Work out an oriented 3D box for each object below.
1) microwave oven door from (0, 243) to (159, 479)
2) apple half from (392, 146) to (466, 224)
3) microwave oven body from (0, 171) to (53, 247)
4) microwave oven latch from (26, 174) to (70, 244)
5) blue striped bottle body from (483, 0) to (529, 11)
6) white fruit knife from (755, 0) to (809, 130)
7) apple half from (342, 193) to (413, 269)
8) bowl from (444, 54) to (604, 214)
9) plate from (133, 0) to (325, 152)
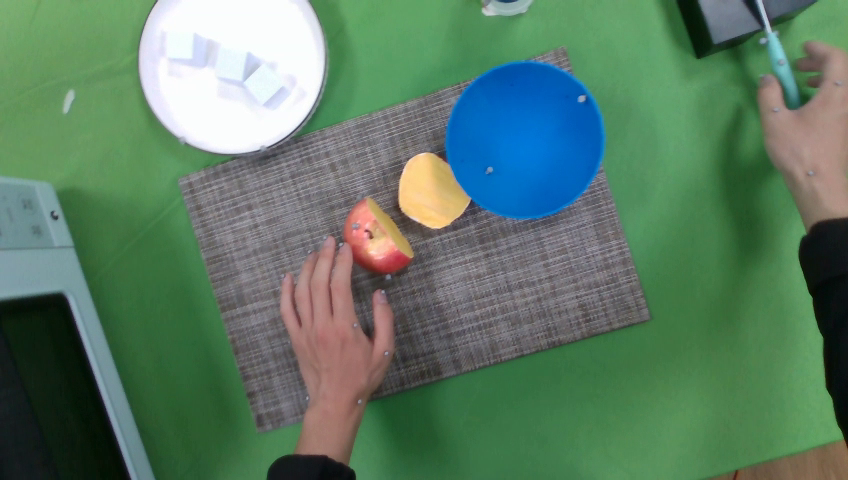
[{"bbox_3d":[-0.360,0.177,0.565,0.039,0.244,0.355,-20,90,6],"label":"microwave oven door"},{"bbox_3d":[0.003,-0.058,0.639,0.081,0.032,0.081,-1,104,-3],"label":"apple half"},{"bbox_3d":[-0.511,0.185,0.584,0.326,0.260,0.441,-19,91,5],"label":"microwave oven body"},{"bbox_3d":[-0.420,-0.032,0.664,0.030,0.029,0.079,-19,91,5],"label":"microwave oven latch"},{"bbox_3d":[0.082,-0.273,0.585,0.063,0.121,0.063,0,91,5],"label":"blue striped bottle body"},{"bbox_3d":[0.332,-0.198,0.582,0.016,0.027,0.208,-22,107,23],"label":"white fruit knife"},{"bbox_3d":[-0.055,-0.003,0.629,0.053,0.074,0.081,-37,92,10],"label":"apple half"},{"bbox_3d":[0.097,-0.100,0.608,0.151,0.077,0.151,0,92,6],"label":"bowl"},{"bbox_3d":[-0.207,-0.197,0.657,0.207,0.039,0.207,0,92,5],"label":"plate"}]
